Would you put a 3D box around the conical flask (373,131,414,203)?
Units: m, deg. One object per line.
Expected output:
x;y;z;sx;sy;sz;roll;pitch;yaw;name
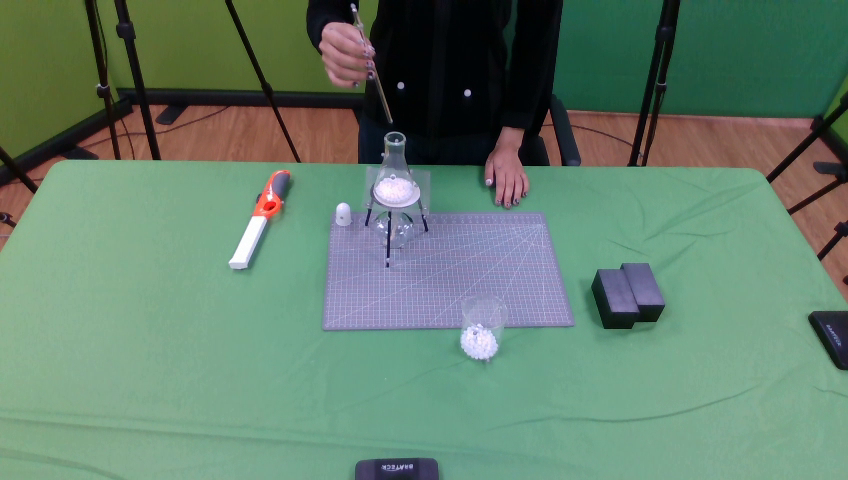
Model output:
-0.053;-0.131;1.066;0.075;0.122;0.075;2;44;-2;conical flask

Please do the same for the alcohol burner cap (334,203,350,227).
-0.166;-0.054;1.221;0.034;0.048;0.033;3;46;-2;alcohol burner cap

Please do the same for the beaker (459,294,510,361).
0.094;0.147;1.012;0.083;0.101;0.074;26;49;21;beaker

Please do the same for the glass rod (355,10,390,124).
-0.078;-0.263;0.945;0.008;0.201;0.008;-8;46;8;glass rod

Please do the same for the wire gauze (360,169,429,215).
-0.052;-0.092;1.112;0.125;0.011;0.120;3;43;1;wire gauze

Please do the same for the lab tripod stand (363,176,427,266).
-0.058;-0.047;1.159;0.148;0.132;0.147;3;44;-2;lab tripod stand

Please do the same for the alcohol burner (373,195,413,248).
-0.059;-0.041;1.167;0.078;0.119;0.077;4;46;-4;alcohol burner

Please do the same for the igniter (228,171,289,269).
-0.328;-0.049;1.218;0.057;0.025;0.275;1;45;11;igniter
